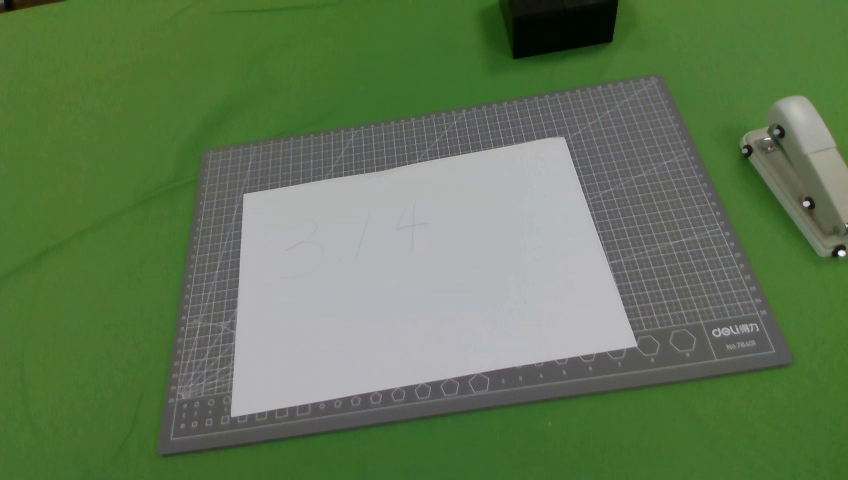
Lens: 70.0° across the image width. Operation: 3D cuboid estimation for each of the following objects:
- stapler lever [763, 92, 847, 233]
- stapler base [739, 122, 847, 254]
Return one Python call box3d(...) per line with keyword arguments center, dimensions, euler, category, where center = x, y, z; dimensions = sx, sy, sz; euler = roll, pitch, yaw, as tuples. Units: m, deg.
box3d(center=(0.298, -0.063, 0.458), dimensions=(0.027, 0.040, 0.117), euler=(-17, 58, 1), category="stapler lever")
box3d(center=(0.301, -0.050, 0.481), dimensions=(0.041, 0.025, 0.129), euler=(-17, 58, 1), category="stapler base")
